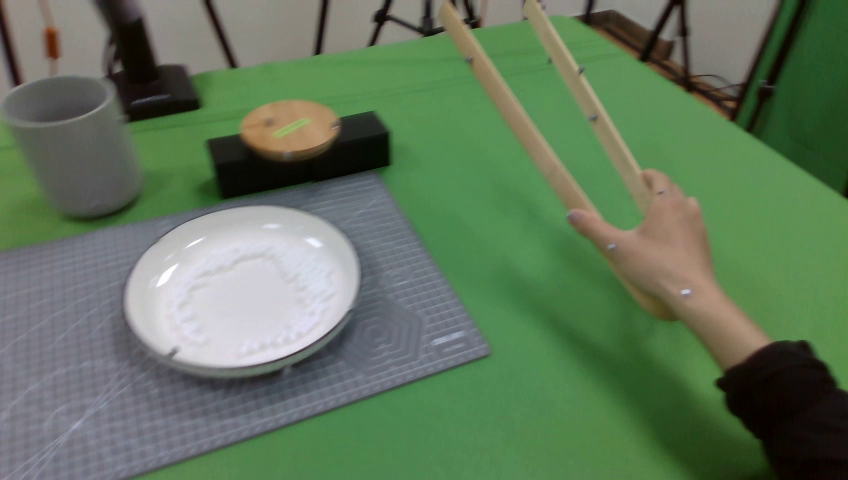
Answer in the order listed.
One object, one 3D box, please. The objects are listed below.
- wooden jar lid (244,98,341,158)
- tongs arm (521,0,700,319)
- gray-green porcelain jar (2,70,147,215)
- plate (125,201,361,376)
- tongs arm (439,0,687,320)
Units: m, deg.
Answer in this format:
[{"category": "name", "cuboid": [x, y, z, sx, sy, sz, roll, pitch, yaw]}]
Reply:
[{"category": "wooden jar lid", "cuboid": [-0.149, -0.128, 0.693, 0.108, 0.021, 0.107, 3, 44, -2]}, {"category": "tongs arm", "cuboid": [0.170, -0.104, 0.604, 0.051, 0.026, 0.382, -14, 69, -29]}, {"category": "gray-green porcelain jar", "cuboid": [-0.360, -0.099, 0.642, 0.106, 0.127, 0.105, 2, 43, -1]}, {"category": "plate", "cuboid": [-0.163, 0.042, 0.566, 0.209, 0.038, 0.207, 2, 43, -1]}, {"category": "tongs arm", "cuboid": [0.117, -0.089, 0.575, 0.028, 0.028, 0.385, -21, 72, -35]}]
